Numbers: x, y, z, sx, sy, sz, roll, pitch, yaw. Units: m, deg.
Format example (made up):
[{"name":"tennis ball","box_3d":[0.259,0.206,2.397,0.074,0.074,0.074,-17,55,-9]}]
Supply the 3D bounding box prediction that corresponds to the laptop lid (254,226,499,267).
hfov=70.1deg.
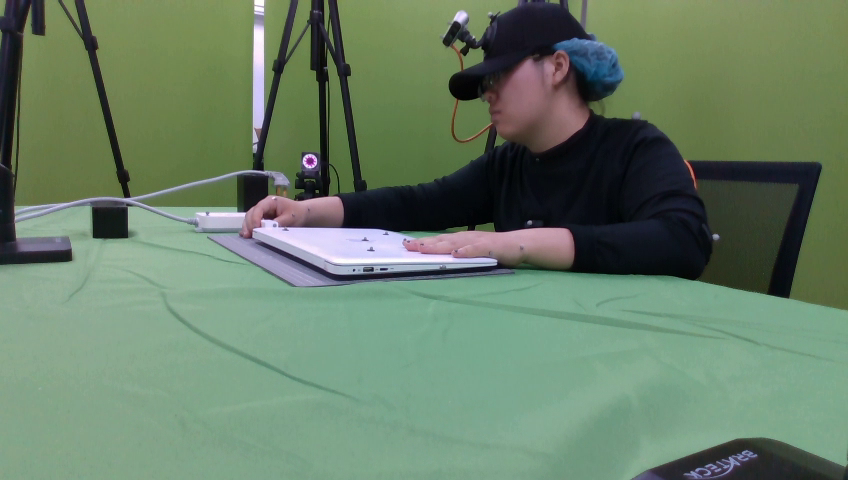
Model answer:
[{"name":"laptop lid","box_3d":[-0.086,0.005,0.875,0.243,0.013,0.355,1,7,-30]}]

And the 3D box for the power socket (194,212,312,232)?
[{"name":"power socket","box_3d":[-0.322,-0.037,1.152,0.228,0.032,0.072,-3,8,-34]}]

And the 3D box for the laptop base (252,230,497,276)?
[{"name":"laptop base","box_3d":[-0.089,0.016,0.876,0.237,0.023,0.352,2,6,-32]}]

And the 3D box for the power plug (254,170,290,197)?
[{"name":"power plug","box_3d":[-0.322,-0.119,1.284,0.073,0.052,0.035,2,-13,-14]}]

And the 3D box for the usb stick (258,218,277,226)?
[{"name":"usb stick","box_3d":[-0.255,-0.019,0.996,0.021,0.027,0.059,-7,16,-28]}]
